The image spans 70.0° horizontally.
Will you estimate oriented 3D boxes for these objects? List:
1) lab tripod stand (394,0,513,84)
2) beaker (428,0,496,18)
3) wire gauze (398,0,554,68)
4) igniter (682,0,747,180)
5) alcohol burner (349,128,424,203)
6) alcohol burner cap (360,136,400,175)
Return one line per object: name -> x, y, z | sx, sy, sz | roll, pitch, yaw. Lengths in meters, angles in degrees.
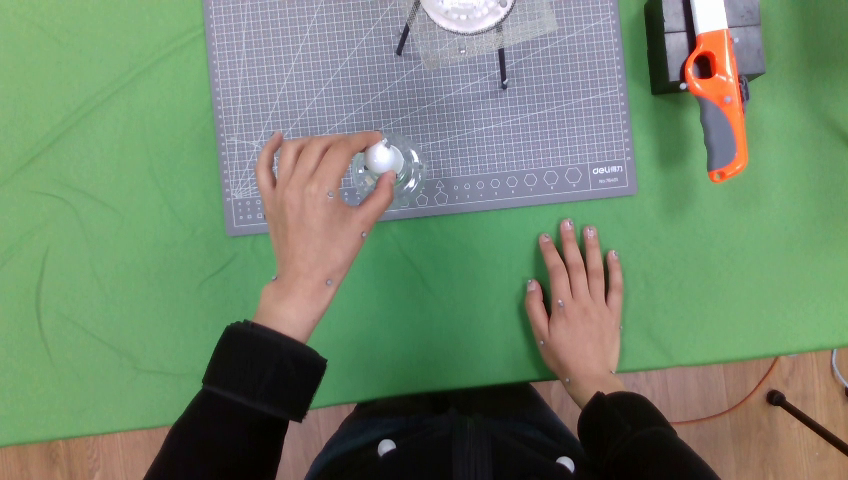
lab tripod stand -> 0.037, -0.229, 0.596 | 0.148, 0.131, 0.148 | 0, 88, 1
beaker -> 0.030, -0.228, 0.483 | 0.084, 0.100, 0.074 | -8, 88, 0
wire gauze -> 0.037, -0.224, 0.531 | 0.125, 0.011, 0.121 | -20, 90, -3
igniter -> 0.285, -0.199, 0.607 | 0.057, 0.025, 0.276 | -7, 89, 11
alcohol burner -> -0.038, -0.076, 0.604 | 0.078, 0.119, 0.078 | 0, 91, -1
alcohol burner cap -> -0.041, -0.076, 0.532 | 0.034, 0.048, 0.034 | 0, 90, 5
